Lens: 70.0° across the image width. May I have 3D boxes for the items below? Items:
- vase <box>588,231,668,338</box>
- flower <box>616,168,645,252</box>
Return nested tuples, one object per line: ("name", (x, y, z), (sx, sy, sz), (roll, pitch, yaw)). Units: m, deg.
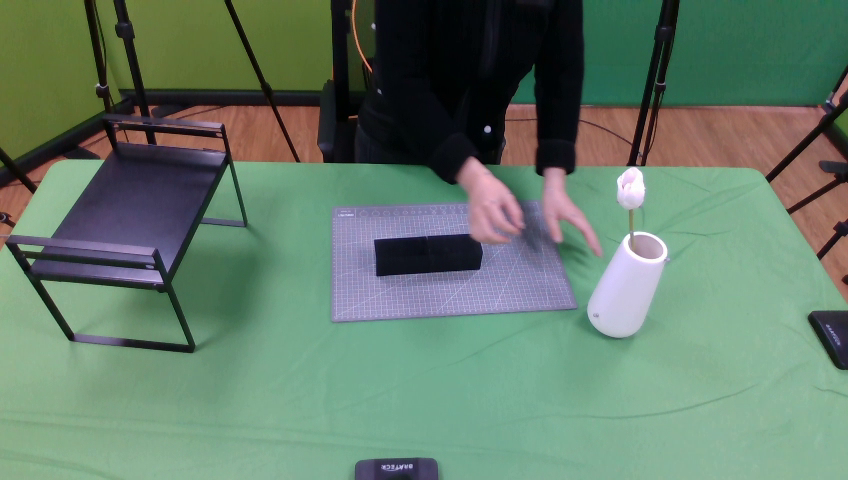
("vase", (0.343, 0.078, 1.022), (0.098, 0.201, 0.097), (2, 47, -1))
("flower", (0.330, 0.024, 0.959), (0.038, 0.364, 0.044), (-4, 51, 17))
